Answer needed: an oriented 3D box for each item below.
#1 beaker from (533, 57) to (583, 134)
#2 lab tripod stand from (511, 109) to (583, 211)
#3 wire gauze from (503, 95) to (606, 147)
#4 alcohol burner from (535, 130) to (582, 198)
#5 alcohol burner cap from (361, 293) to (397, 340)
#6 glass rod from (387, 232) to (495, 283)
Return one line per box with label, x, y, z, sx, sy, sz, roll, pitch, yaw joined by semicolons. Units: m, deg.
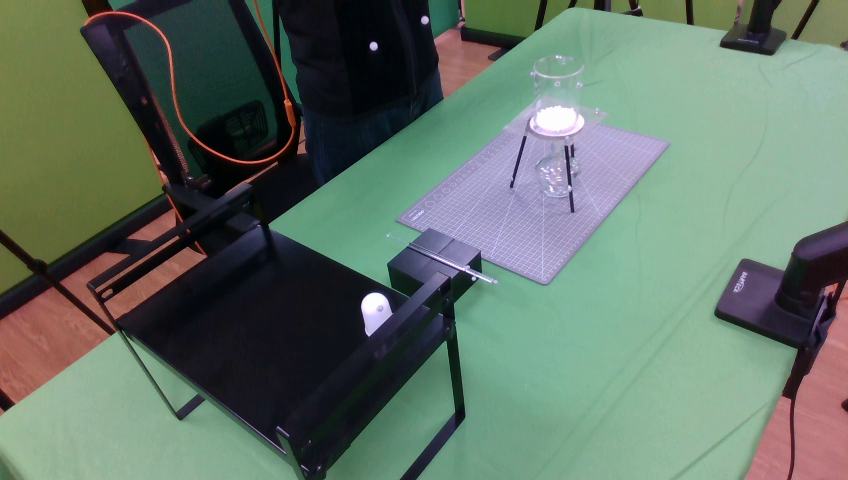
beaker;0.208;-0.225;0.941;0.073;0.101;0.084;11;44;20
lab tripod stand;0.220;-0.138;1.014;0.148;0.132;0.147;-3;41;3
wire gauze;0.212;-0.191;0.976;0.120;0.011;0.125;24;52;32
alcohol burner;0.227;-0.132;1.021;0.078;0.119;0.077;-6;40;5
alcohol burner cap;-0.046;0.073;0.601;0.034;0.048;0.033;-5;42;5
glass rod;0.020;0.025;0.880;0.198;0.008;0.008;23;49;32
